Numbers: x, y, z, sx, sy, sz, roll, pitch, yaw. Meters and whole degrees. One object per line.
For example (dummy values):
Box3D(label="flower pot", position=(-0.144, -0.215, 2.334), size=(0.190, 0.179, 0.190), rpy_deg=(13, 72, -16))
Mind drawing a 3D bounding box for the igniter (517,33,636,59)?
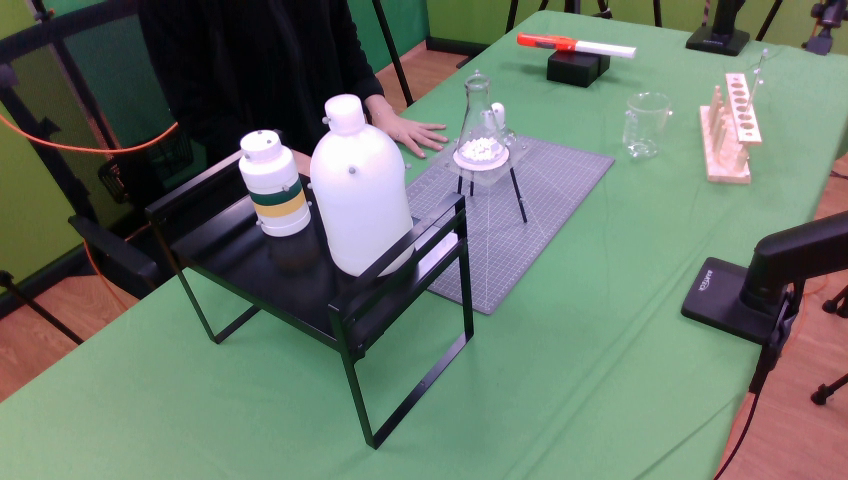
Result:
Box3D(label="igniter", position=(0.336, -0.441, 1.369), size=(0.275, 0.025, 0.057), rpy_deg=(16, 41, 23))

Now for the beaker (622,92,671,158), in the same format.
Box3D(label="beaker", position=(0.402, -0.210, 1.106), size=(0.074, 0.101, 0.083), rpy_deg=(-9, 40, -2))

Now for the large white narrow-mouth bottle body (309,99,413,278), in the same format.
Box3D(label="large white narrow-mouth bottle body", position=(-0.069, -0.057, 0.645), size=(0.102, 0.195, 0.101), rpy_deg=(-3, 42, 4))

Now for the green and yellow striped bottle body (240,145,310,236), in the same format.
Box3D(label="green and yellow striped bottle body", position=(-0.181, -0.068, 0.729), size=(0.063, 0.120, 0.063), rpy_deg=(-4, 40, 4))

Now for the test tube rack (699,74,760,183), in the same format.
Box3D(label="test tube rack", position=(0.547, -0.208, 1.095), size=(0.066, 0.085, 0.242), rpy_deg=(6, 42, 16))

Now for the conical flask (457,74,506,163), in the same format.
Box3D(label="conical flask", position=(0.082, -0.181, 0.893), size=(0.075, 0.122, 0.075), rpy_deg=(-4, 41, 4))

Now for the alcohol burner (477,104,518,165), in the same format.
Box3D(label="alcohol burner", position=(0.135, -0.200, 1.117), size=(0.078, 0.119, 0.077), rpy_deg=(-4, 43, 4))

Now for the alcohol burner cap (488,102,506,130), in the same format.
Box3D(label="alcohol burner cap", position=(0.133, -0.227, 1.092), size=(0.034, 0.048, 0.033), rpy_deg=(-2, 47, 2))

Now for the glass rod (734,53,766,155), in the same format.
Box3D(label="glass rod", position=(0.540, -0.219, 1.006), size=(0.008, 0.201, 0.008), rpy_deg=(-5, 45, 6))

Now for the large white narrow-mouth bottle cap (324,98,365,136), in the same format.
Box3D(label="large white narrow-mouth bottle cap", position=(-0.076, -0.120, 0.585), size=(0.038, 0.024, 0.037), rpy_deg=(-3, 42, 3))

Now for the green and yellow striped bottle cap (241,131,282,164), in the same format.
Box3D(label="green and yellow striped bottle cap", position=(-0.187, -0.107, 0.695), size=(0.045, 0.020, 0.045), rpy_deg=(-3, 39, 3))

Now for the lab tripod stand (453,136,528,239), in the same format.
Box3D(label="lab tripod stand", position=(0.094, -0.086, 0.974), size=(0.148, 0.132, 0.147), rpy_deg=(-4, 43, 4))

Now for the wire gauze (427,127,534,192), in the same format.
Box3D(label="wire gauze", position=(0.086, -0.130, 0.925), size=(0.124, 0.011, 0.122), rpy_deg=(28, 54, 31))
